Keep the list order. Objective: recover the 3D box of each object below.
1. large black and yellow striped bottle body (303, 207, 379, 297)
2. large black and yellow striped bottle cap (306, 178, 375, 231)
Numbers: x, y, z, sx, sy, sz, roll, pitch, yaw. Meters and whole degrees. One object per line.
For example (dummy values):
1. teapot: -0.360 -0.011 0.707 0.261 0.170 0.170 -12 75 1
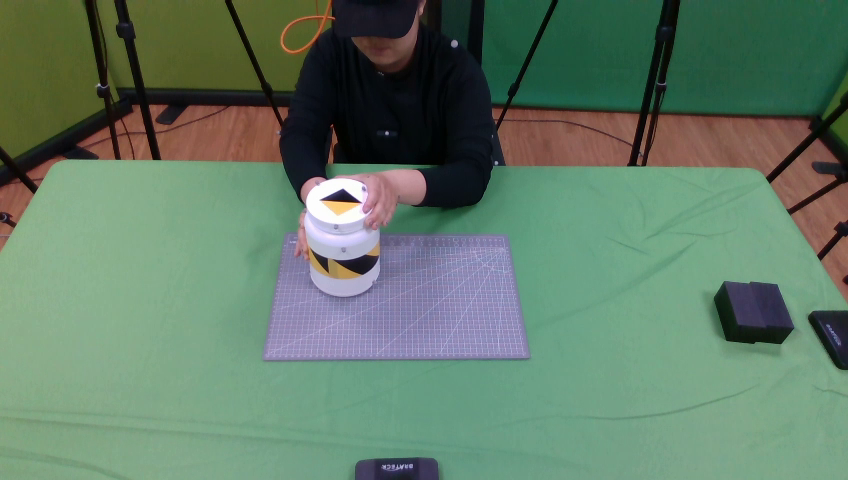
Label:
1. large black and yellow striped bottle body: -0.144 -0.003 1.074 0.131 0.185 0.130 2 46 -2
2. large black and yellow striped bottle cap: -0.139 -0.061 1.013 0.115 0.019 0.114 2 47 -2
